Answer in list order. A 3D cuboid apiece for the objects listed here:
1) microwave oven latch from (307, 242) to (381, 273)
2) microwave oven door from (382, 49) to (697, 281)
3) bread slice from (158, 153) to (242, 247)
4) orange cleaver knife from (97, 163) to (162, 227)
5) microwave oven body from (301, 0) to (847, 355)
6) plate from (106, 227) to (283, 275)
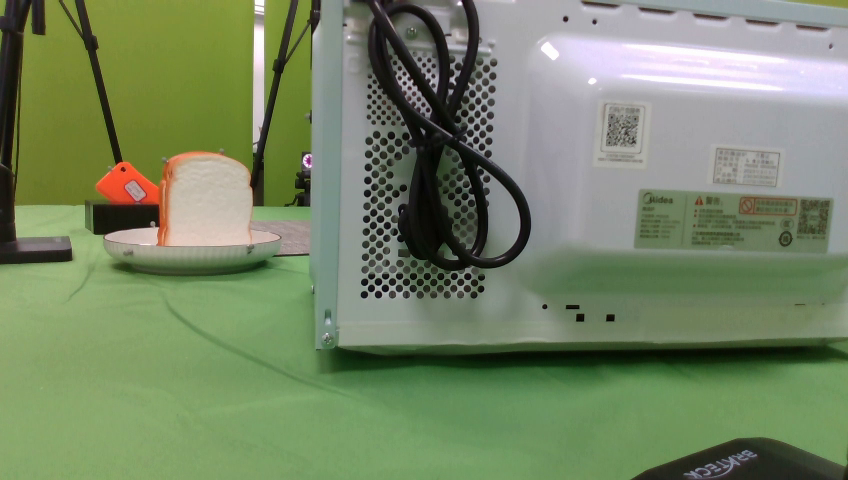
[{"bbox_3d":[-0.086,0.019,0.656,0.079,0.029,0.030,2,7,-10],"label":"microwave oven latch"},{"bbox_3d":[0.135,-0.077,0.685,0.357,0.243,0.039,1,8,-12],"label":"microwave oven door"},{"bbox_3d":[-0.287,-0.045,0.788,0.107,0.134,0.018,2,8,-35],"label":"bread slice"},{"bbox_3d":[-0.472,-0.062,1.087,0.212,0.077,0.012,33,-14,-36],"label":"orange cleaver knife"},{"bbox_3d":[0.120,-0.053,0.535,0.443,0.260,0.325,2,7,-11],"label":"microwave oven body"},{"bbox_3d":[-0.288,0.013,0.772,0.208,0.039,0.207,2,7,0],"label":"plate"}]
